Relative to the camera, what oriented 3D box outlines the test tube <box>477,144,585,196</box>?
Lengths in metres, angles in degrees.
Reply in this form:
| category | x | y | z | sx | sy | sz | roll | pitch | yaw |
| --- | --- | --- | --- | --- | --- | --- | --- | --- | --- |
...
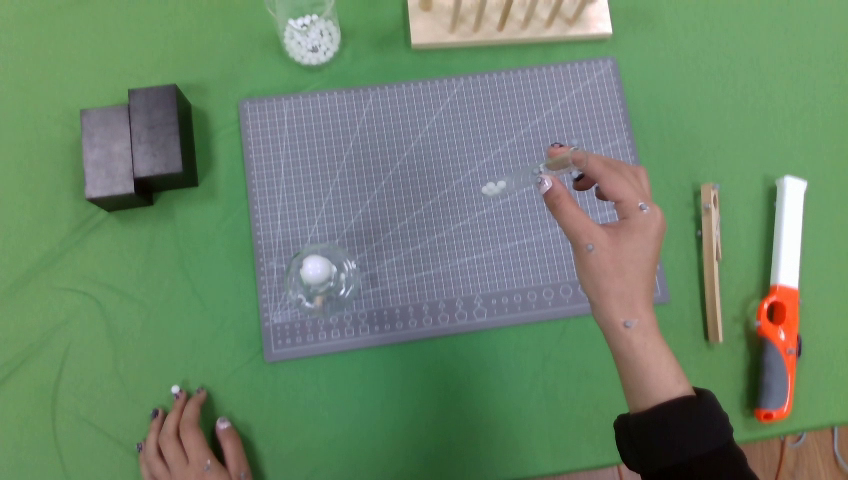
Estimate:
| category | x | y | z | sx | sy | sz | roll | pitch | yaw |
| --- | --- | --- | --- | --- | --- | --- | --- | --- | --- |
| test tube | 0.080 | -0.053 | 0.488 | 0.017 | 0.150 | 0.017 | 2 | 85 | -21 |

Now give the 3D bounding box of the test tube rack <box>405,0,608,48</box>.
| category | x | y | z | sx | sy | sz | roll | pitch | yaw |
| --- | --- | --- | --- | --- | --- | --- | --- | --- | --- |
| test tube rack | 0.101 | -0.280 | 0.700 | 0.242 | 0.085 | 0.066 | -4 | 79 | -4 |

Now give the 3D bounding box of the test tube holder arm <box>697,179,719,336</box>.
| category | x | y | z | sx | sy | sz | roll | pitch | yaw |
| --- | --- | --- | --- | --- | --- | --- | --- | --- | --- |
| test tube holder arm | 0.322 | 0.019 | 0.686 | 0.013 | 0.015 | 0.177 | 9 | 78 | -33 |

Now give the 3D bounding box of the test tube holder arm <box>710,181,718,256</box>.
| category | x | y | z | sx | sy | sz | roll | pitch | yaw |
| --- | --- | --- | --- | --- | --- | --- | --- | --- | --- |
| test tube holder arm | 0.328 | -0.025 | 0.697 | 0.010 | 0.015 | 0.087 | 10 | 77 | -32 |

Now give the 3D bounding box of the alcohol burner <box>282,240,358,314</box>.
| category | x | y | z | sx | sy | sz | roll | pitch | yaw |
| --- | --- | --- | --- | --- | --- | --- | --- | --- | --- |
| alcohol burner | -0.106 | 0.034 | 0.609 | 0.078 | 0.119 | 0.077 | 1 | 77 | -4 |

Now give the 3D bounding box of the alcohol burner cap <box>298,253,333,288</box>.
| category | x | y | z | sx | sy | sz | roll | pitch | yaw |
| --- | --- | --- | --- | --- | --- | --- | --- | --- | --- |
| alcohol burner cap | -0.105 | 0.028 | 0.574 | 0.034 | 0.048 | 0.034 | 1 | 83 | -5 |

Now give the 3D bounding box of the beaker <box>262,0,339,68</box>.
| category | x | y | z | sx | sy | sz | roll | pitch | yaw |
| --- | --- | --- | --- | --- | --- | --- | --- | --- | --- |
| beaker | -0.133 | -0.243 | 0.672 | 0.074 | 0.100 | 0.083 | -5 | 79 | -4 |

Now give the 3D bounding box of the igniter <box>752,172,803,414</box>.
| category | x | y | z | sx | sy | sz | roll | pitch | yaw |
| --- | --- | --- | --- | --- | --- | --- | --- | --- | --- |
| igniter | 0.398 | 0.057 | 0.679 | 0.057 | 0.025 | 0.275 | 14 | 78 | -11 |
